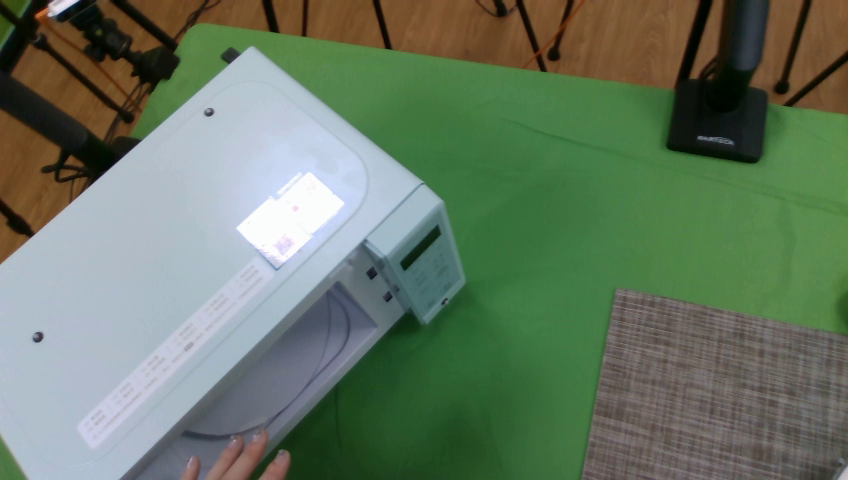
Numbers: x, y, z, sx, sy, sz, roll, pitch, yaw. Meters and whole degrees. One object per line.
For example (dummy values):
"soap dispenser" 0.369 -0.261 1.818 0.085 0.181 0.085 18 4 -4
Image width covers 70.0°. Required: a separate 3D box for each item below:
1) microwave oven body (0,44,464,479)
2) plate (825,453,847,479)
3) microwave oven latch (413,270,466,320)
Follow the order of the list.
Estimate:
"microwave oven body" -0.224 0.060 0.698 0.323 0.262 0.441 41 80 21
"plate" 0.498 0.302 0.600 0.207 0.039 0.206 -3 67 8
"microwave oven latch" 0.019 0.062 0.764 0.079 0.030 0.030 -44 68 -9
